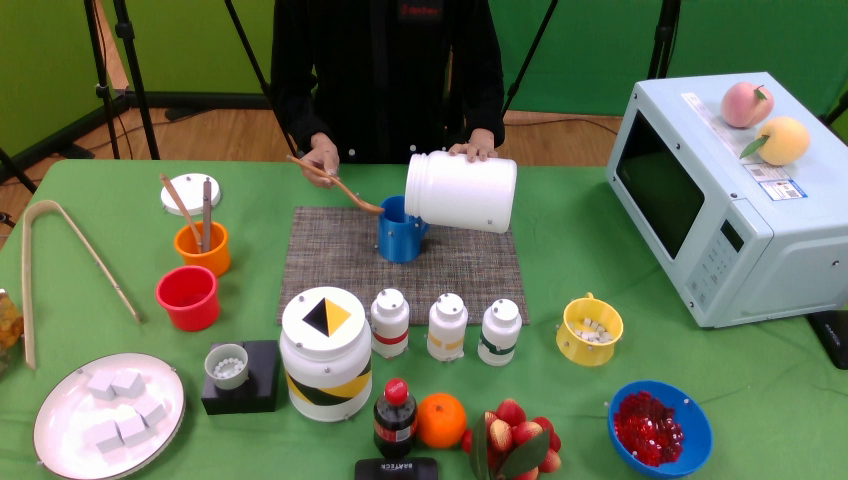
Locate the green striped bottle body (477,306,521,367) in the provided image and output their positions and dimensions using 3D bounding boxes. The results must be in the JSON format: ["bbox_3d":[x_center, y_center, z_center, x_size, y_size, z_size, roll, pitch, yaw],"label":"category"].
[{"bbox_3d":[0.124,0.151,0.995,0.063,0.120,0.063,2,46,-2],"label":"green striped bottle body"}]

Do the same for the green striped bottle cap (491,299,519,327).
[{"bbox_3d":[0.128,0.115,0.958,0.044,0.020,0.044,1,47,-1],"label":"green striped bottle cap"}]

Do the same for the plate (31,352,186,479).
[{"bbox_3d":[-0.459,0.262,0.898,0.209,0.038,0.208,2,46,-2],"label":"plate"}]

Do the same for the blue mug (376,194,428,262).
[{"bbox_3d":[-0.036,-0.028,1.159,0.116,0.106,0.082,-25,53,-26],"label":"blue mug"}]

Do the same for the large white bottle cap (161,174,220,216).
[{"bbox_3d":[-0.483,-0.095,1.253,0.115,0.018,0.114,2,46,-2],"label":"large white bottle cap"}]

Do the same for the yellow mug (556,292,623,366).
[{"bbox_3d":[0.285,0.145,1.051,0.100,0.064,0.130,7,45,3],"label":"yellow mug"}]

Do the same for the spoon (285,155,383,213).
[{"bbox_3d":[-0.157,-0.099,1.069,0.194,0.021,0.041,34,12,-8],"label":"spoon"}]

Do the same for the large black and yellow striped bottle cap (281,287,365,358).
[{"bbox_3d":[-0.141,0.112,0.847,0.115,0.019,0.114,5,45,-4],"label":"large black and yellow striped bottle cap"}]

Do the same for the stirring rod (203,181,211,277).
[{"bbox_3d":[-0.396,-0.021,1.107,0.014,0.006,0.176,-1,89,-1],"label":"stirring rod"}]

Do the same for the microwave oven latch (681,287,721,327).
[{"bbox_3d":[0.494,0.119,1.087,0.030,0.029,0.078,-6,46,-9],"label":"microwave oven latch"}]

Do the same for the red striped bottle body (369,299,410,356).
[{"bbox_3d":[-0.059,0.135,0.998,0.063,0.120,0.062,6,49,-6],"label":"red striped bottle body"}]

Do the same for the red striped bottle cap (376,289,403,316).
[{"bbox_3d":[-0.055,0.098,0.958,0.044,0.018,0.044,0,47,0],"label":"red striped bottle cap"}]

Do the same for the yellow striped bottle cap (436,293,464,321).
[{"bbox_3d":[0.041,0.106,0.959,0.044,0.019,0.044,-1,50,1],"label":"yellow striped bottle cap"}]

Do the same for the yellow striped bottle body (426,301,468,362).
[{"bbox_3d":[0.037,0.142,0.996,0.063,0.121,0.062,3,46,-3],"label":"yellow striped bottle body"}]

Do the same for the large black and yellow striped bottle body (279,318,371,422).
[{"bbox_3d":[-0.145,0.173,0.907,0.131,0.185,0.130,2,46,-2],"label":"large black and yellow striped bottle body"}]

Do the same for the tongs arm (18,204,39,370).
[{"bbox_3d":[-0.698,0.069,1.069,0.028,0.028,0.385,-20,50,-13],"label":"tongs arm"}]

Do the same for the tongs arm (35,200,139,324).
[{"bbox_3d":[-0.622,0.034,1.105,0.051,0.026,0.382,-32,55,-25],"label":"tongs arm"}]

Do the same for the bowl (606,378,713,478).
[{"bbox_3d":[0.340,0.292,0.906,0.151,0.077,0.150,2,46,-2],"label":"bowl"}]

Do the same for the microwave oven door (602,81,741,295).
[{"bbox_3d":[0.456,-0.107,1.162,0.039,0.245,0.353,-7,47,-11],"label":"microwave oven door"}]

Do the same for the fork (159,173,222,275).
[{"bbox_3d":[-0.427,-0.029,1.103,0.028,0.018,0.207,-31,99,-31],"label":"fork"}]

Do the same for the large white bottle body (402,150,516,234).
[{"bbox_3d":[0.060,-0.086,1.062,0.184,0.131,0.130,8,46,2],"label":"large white bottle body"}]

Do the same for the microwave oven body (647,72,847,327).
[{"bbox_3d":[0.607,-0.089,1.164,0.326,0.261,0.438,-7,46,-10],"label":"microwave oven body"}]

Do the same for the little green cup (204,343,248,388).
[{"bbox_3d":[-0.294,0.190,0.909,0.061,0.039,0.061,1,48,0],"label":"little green cup"}]
